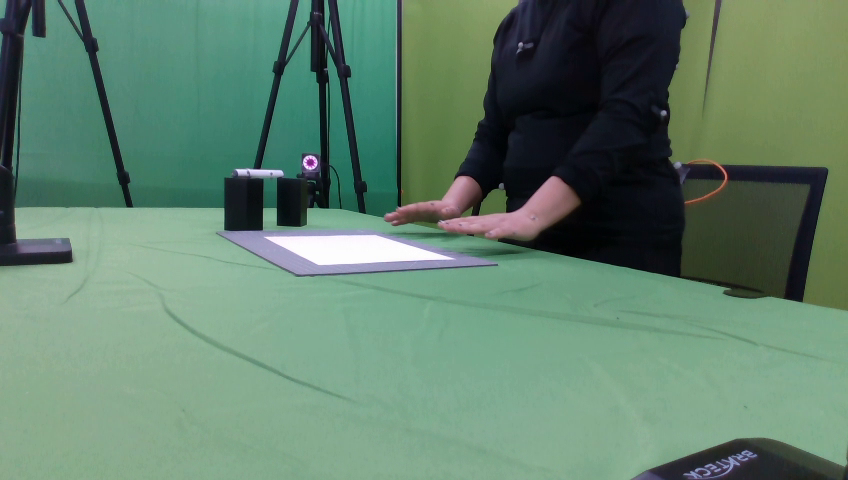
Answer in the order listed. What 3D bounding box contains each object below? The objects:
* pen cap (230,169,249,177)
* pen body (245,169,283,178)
[{"bbox_3d":[-0.347,-0.125,1.138,0.017,0.017,0.038,6,8,21],"label":"pen cap"},{"bbox_3d":[-0.325,-0.130,1.195,0.017,0.017,0.144,6,7,22],"label":"pen body"}]
